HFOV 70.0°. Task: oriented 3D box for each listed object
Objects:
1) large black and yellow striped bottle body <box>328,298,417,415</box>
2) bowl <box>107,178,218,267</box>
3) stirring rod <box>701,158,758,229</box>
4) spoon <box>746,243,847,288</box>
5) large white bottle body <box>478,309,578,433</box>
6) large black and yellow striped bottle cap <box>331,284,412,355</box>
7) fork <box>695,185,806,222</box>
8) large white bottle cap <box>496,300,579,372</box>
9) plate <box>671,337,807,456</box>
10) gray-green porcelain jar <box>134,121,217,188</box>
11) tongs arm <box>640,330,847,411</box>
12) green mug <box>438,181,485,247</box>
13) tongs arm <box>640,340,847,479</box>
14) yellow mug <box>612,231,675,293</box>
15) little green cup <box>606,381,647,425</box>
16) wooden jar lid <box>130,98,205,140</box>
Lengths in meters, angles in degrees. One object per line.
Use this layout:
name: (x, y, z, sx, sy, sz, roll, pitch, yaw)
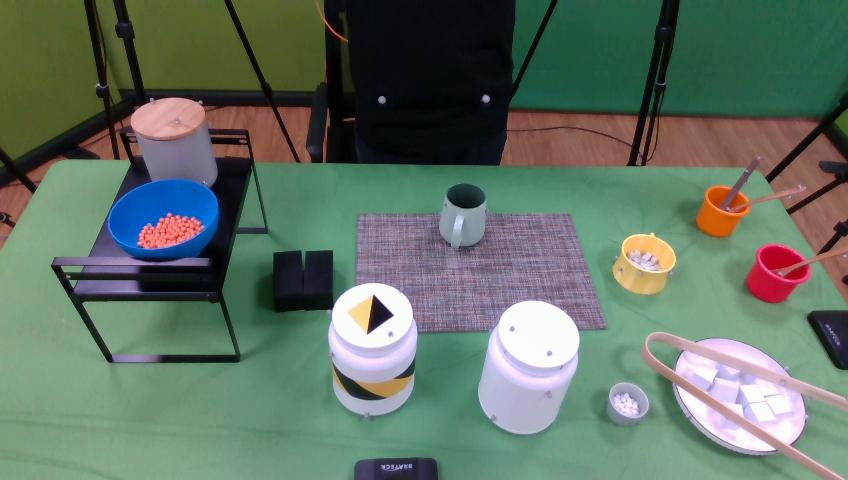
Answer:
large black and yellow striped bottle body: (-0.078, 0.167, 0.920, 0.131, 0.185, 0.130, 2, 46, -2)
bowl: (-0.374, -0.014, 0.893, 0.151, 0.077, 0.150, 2, 46, -2)
stirring rod: (0.634, -0.096, 1.258, 0.014, 0.006, 0.176, 38, 98, 31)
spoon: (0.702, 0.044, 1.126, 0.194, 0.022, 0.041, -29, 38, 30)
large white bottle body: (0.156, 0.192, 0.913, 0.131, 0.185, 0.130, 2, 46, -2)
large black and yellow striped bottle cap: (-0.073, 0.110, 0.858, 0.115, 0.019, 0.114, 2, 46, -2)
fork: (0.657, -0.074, 1.230, 0.207, 0.019, 0.028, -23, 36, 37)
large white bottle cap: (0.160, 0.133, 0.852, 0.115, 0.018, 0.114, 3, 46, -3)
plate: (0.503, 0.254, 0.984, 0.208, 0.039, 0.206, 2, 46, -2)
gray-green porcelain jar: (-0.397, -0.141, 0.980, 0.106, 0.127, 0.105, 2, 47, -2)
tongs arm: (0.543, 0.226, 0.969, 0.384, 0.026, 0.050, 22, 52, 13)
green mug: (0.071, -0.039, 1.177, 0.092, 0.105, 0.124, 12, 47, 7)
tongs arm: (0.500, 0.277, 0.919, 0.386, 0.028, 0.028, 34, 59, 22)
yellow mug: (0.424, 0.033, 1.168, 0.100, 0.064, 0.130, 18, 47, 13)
little green cup: (0.319, 0.261, 0.962, 0.061, 0.039, 0.061, 2, 45, -2)
wooden jar lid: (-0.393, -0.183, 0.934, 0.108, 0.021, 0.107, 2, 44, -2)
